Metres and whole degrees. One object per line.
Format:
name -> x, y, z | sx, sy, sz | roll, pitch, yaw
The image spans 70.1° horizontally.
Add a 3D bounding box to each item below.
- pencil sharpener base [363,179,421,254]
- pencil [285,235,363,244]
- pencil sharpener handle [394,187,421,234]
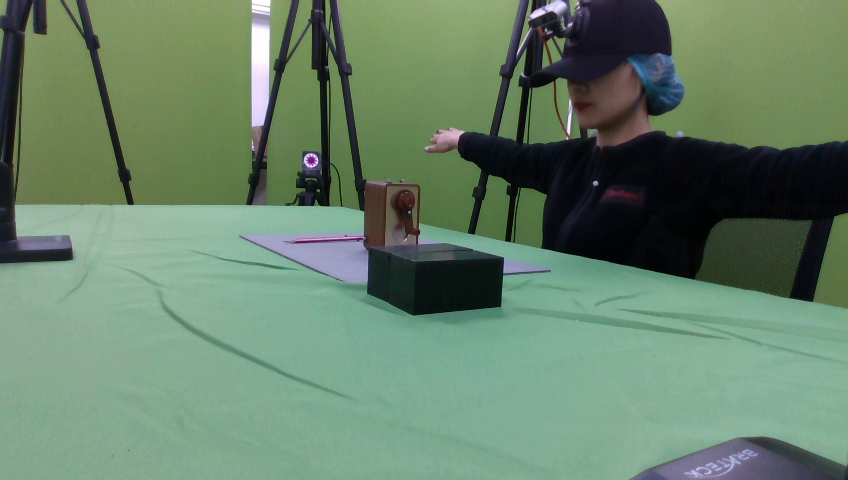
pencil sharpener base -> -0.048, -0.036, 0.906 | 0.062, 0.107, 0.076 | -1, 8, -31
pencil -> -0.138, -0.002, 1.003 | 0.195, 0.012, 0.012 | -4, 9, -33
pencil sharpener handle -> -0.019, -0.042, 0.862 | 0.036, 0.068, 0.030 | -13, 14, -29
